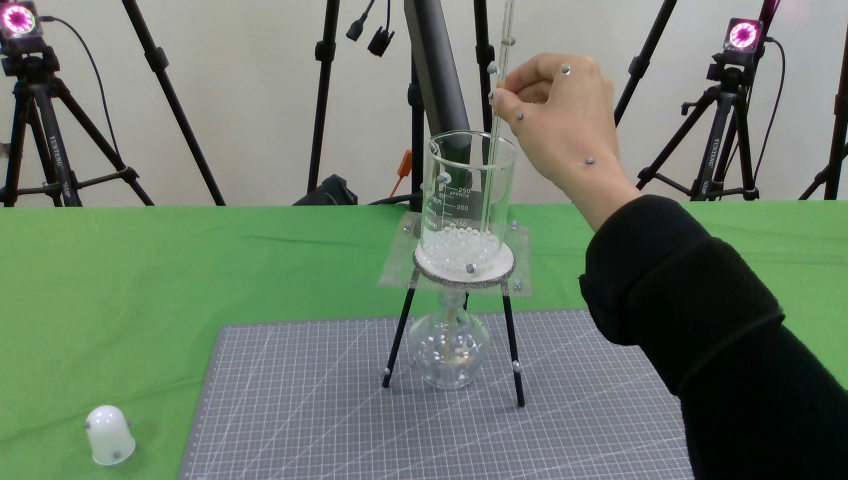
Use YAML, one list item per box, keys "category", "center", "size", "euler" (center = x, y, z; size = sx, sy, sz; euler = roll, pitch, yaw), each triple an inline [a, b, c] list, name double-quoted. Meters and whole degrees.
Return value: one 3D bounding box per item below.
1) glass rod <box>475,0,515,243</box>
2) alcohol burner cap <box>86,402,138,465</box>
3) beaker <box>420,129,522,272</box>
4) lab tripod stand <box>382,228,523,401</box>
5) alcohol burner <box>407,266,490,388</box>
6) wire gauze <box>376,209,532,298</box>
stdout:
- category: "glass rod"
  center: [0.053, -0.081, 0.464]
  size: [0.008, 0.201, 0.008]
  euler: [3, 34, -2]
- category: "alcohol burner cap"
  center: [-0.251, 0.152, 0.484]
  size: [0.034, 0.048, 0.033]
  euler: [1, 31, 0]
- category: "beaker"
  center: [0.032, -0.032, 0.496]
  size: [0.083, 0.101, 0.074]
  euler: [28, 38, 34]
- category: "lab tripod stand"
  center: [0.035, 0.067, 0.553]
  size: [0.148, 0.132, 0.147]
  euler: [4, 30, -2]
- category: "alcohol burner"
  center: [0.023, 0.076, 0.557]
  size: [0.078, 0.120, 0.077]
  euler: [1, 29, 0]
- category: "wire gauze"
  center: [0.031, 0.010, 0.520]
  size: [0.121, 0.011, 0.124]
  euler: [6, 33, 6]
